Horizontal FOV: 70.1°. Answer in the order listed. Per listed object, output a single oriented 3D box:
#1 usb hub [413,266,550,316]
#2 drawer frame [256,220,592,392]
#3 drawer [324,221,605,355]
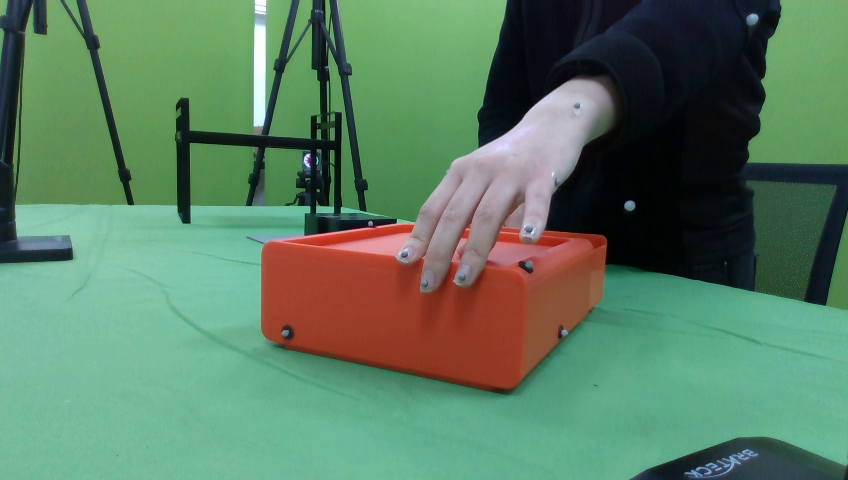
[{"bbox_3d":[0.055,0.047,0.587,0.124,0.025,0.050,6,12,27],"label":"usb hub"},{"bbox_3d":[0.014,0.036,0.490,0.201,0.082,0.214,6,9,25],"label":"drawer frame"},{"bbox_3d":[0.047,0.033,0.556,0.194,0.073,0.212,7,10,26],"label":"drawer"}]
